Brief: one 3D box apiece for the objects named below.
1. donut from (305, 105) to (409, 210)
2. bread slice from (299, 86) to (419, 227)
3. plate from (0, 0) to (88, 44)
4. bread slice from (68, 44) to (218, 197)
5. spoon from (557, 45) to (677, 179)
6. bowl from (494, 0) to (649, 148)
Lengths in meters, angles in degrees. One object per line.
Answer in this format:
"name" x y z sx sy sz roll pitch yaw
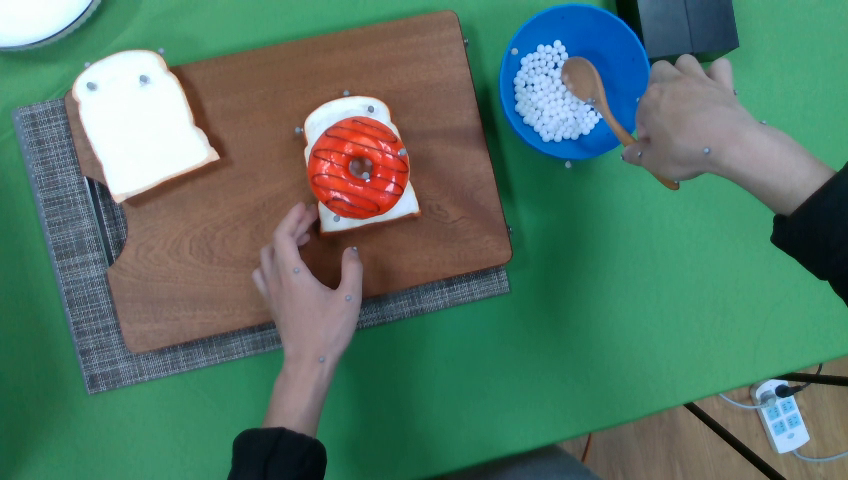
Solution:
"donut" -0.064 -0.078 0.577 0.099 0.048 0.099 0 92 -5
"bread slice" -0.071 -0.086 0.606 0.105 0.019 0.131 -15 94 -5
"plate" -0.416 -0.293 0.592 0.208 0.039 0.207 0 92 -5
"bread slice" -0.279 -0.120 0.587 0.107 0.018 0.134 -28 92 -4
"spoon" 0.176 -0.120 0.566 0.022 0.042 0.191 -8 51 -18
"bowl" 0.140 -0.164 0.619 0.151 0.076 0.151 0 92 -4
